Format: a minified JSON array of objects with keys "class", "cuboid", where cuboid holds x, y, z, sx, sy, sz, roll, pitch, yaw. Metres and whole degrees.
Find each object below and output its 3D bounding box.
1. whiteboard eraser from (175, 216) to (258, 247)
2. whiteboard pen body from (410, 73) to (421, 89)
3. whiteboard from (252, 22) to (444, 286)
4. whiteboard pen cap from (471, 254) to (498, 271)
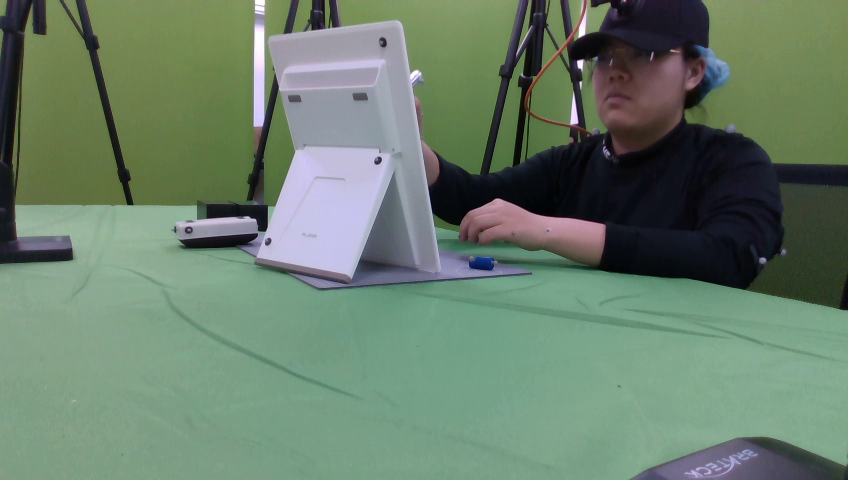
[{"class":"whiteboard eraser","cuboid":[-0.314,-0.012,0.914,0.113,0.042,0.055,-5,12,-30]},{"class":"whiteboard pen body","cuboid":[-0.028,-0.206,0.836,0.017,0.017,0.141,5,30,13]},{"class":"whiteboard","cuboid":[-0.125,-0.081,0.714,0.216,0.305,0.144,9,29,36]},{"class":"whiteboard pen cap","cuboid":[0.081,0.031,0.799,0.033,0.018,0.018,19,3,-16]}]
